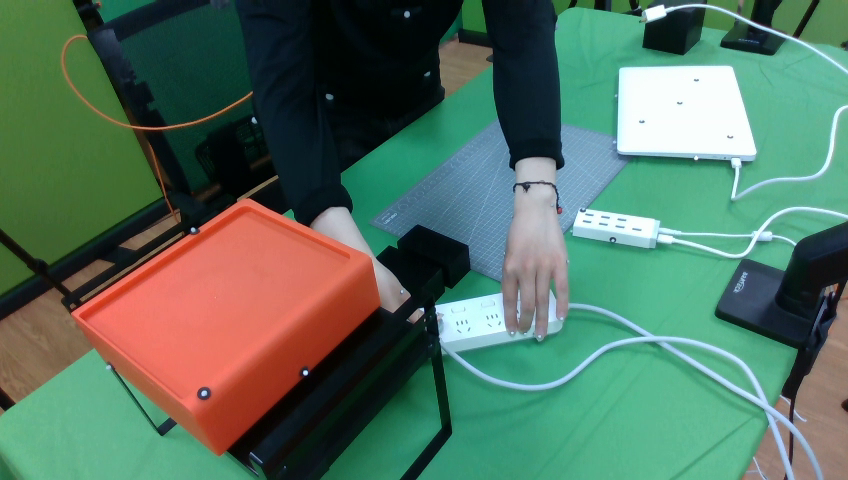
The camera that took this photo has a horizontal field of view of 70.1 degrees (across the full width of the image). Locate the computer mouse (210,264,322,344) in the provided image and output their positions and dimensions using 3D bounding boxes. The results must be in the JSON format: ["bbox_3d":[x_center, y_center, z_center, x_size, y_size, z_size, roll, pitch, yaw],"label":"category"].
[{"bbox_3d":[-0.164,0.062,0.625,0.116,0.041,0.063,22,44,27],"label":"computer mouse"}]

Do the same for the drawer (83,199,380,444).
[{"bbox_3d":[-0.185,0.066,0.601,0.193,0.073,0.212,24,50,31],"label":"drawer"}]

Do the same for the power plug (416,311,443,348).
[{"bbox_3d":[0.008,0.123,0.773,0.035,0.053,0.072,-10,43,8],"label":"power plug"}]

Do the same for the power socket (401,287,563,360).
[{"bbox_3d":[0.080,0.112,0.822,0.227,0.033,0.071,-10,41,-4],"label":"power socket"}]

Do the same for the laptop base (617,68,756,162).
[{"bbox_3d":[0.507,-0.256,1.204,0.235,0.023,0.353,3,41,15],"label":"laptop base"}]

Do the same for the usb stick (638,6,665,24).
[{"bbox_3d":[0.504,-0.499,1.347,0.059,0.027,0.021,-21,6,-2],"label":"usb stick"}]

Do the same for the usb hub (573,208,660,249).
[{"bbox_3d":[0.302,-0.019,0.950,0.124,0.025,0.049,11,43,20],"label":"usb hub"}]

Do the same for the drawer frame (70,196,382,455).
[{"bbox_3d":[-0.186,0.068,0.597,0.200,0.083,0.214,23,49,30],"label":"drawer frame"}]

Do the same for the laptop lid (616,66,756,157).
[{"bbox_3d":[0.503,-0.265,1.196,0.241,0.013,0.356,5,41,16],"label":"laptop lid"}]
